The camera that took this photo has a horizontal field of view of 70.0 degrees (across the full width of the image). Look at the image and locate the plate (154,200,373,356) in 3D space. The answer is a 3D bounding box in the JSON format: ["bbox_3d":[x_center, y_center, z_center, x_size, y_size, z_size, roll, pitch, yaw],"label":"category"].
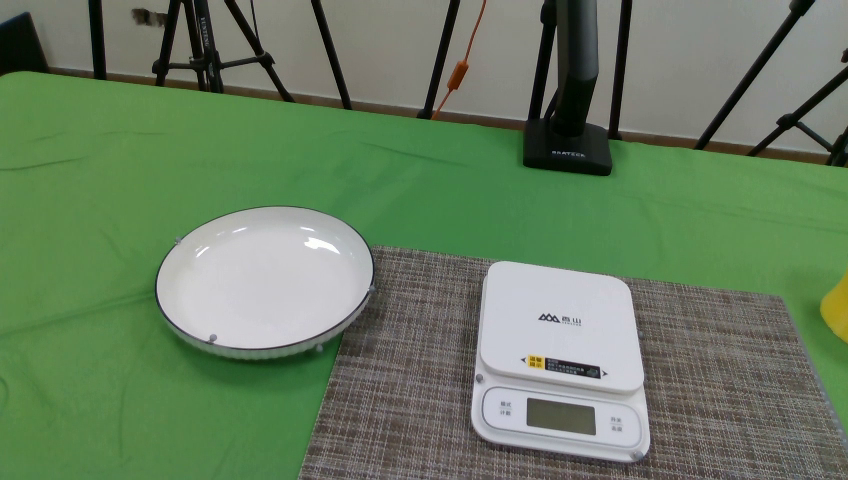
[{"bbox_3d":[-0.156,0.036,0.607,0.209,0.038,0.207,3,41,-2],"label":"plate"}]

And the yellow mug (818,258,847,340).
[{"bbox_3d":[0.480,0.068,0.608,0.100,0.064,0.129,-25,49,-29],"label":"yellow mug"}]

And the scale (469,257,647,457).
[{"bbox_3d":[0.122,0.098,0.561,0.148,0.032,0.199,7,41,4],"label":"scale"}]
